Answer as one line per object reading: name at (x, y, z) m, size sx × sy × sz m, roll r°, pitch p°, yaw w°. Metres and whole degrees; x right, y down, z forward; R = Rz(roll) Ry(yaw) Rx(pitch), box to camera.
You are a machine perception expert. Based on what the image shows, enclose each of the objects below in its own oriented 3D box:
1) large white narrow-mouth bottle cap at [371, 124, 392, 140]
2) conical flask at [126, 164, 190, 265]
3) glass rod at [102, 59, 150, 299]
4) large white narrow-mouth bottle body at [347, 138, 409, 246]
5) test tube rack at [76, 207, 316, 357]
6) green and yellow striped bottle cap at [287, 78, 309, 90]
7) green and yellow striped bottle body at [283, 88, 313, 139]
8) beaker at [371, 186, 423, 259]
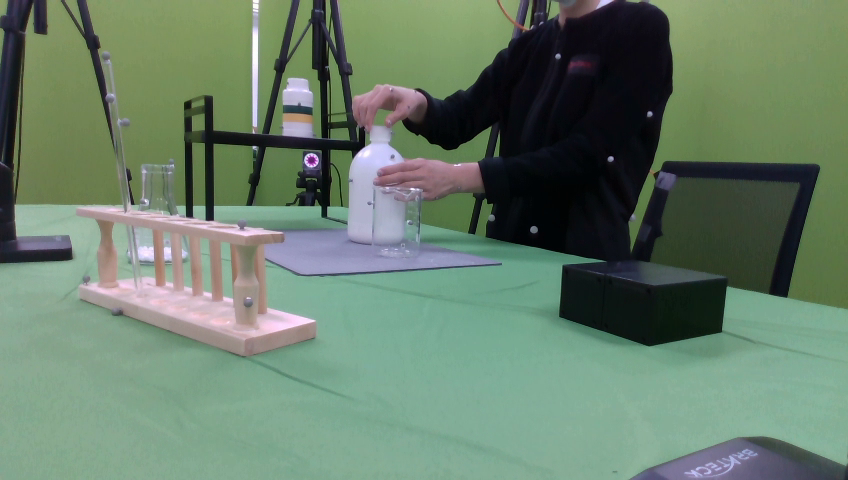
large white narrow-mouth bottle cap at (-0.070, -0.177, 0.996) m, size 0.038 × 0.024 × 0.037 m, roll 4°, pitch 9°, yaw 0°
conical flask at (-0.332, -0.033, 0.756) m, size 0.075 × 0.122 × 0.075 m, roll 2°, pitch 7°, yaw 0°
glass rod at (-0.243, -0.045, 0.496) m, size 0.008 × 0.199 × 0.008 m, roll -4°, pitch 12°, yaw 1°
large white narrow-mouth bottle body at (-0.076, -0.092, 1.011) m, size 0.102 × 0.194 × 0.102 m, roll 3°, pitch 9°, yaw 0°
test tube rack at (-0.196, 0.023, 0.500) m, size 0.241 × 0.085 × 0.067 m, roll 8°, pitch 9°, yaw 36°
green and yellow striped bottle cap at (-0.265, -0.326, 1.268) m, size 0.045 × 0.020 × 0.045 m, roll 4°, pitch 6°, yaw 0°
green and yellow striped bottle body at (-0.266, -0.275, 1.275) m, size 0.063 × 0.119 × 0.063 m, roll 3°, pitch 7°, yaw 0°
beaker at (-0.038, -0.026, 0.868) m, size 0.074 × 0.100 × 0.083 m, roll -1°, pitch 8°, yaw -22°
